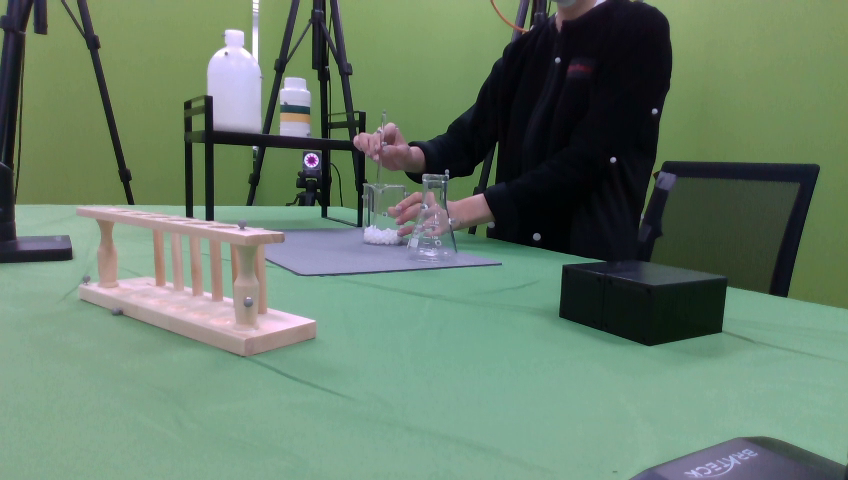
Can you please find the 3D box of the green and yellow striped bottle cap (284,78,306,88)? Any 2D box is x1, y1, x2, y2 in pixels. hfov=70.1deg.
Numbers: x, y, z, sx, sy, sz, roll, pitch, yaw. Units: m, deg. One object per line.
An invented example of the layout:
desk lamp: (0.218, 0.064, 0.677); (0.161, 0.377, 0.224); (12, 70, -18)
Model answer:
green and yellow striped bottle cap: (-0.268, -0.325, 1.259); (0.045, 0.020, 0.045); (5, 8, 0)

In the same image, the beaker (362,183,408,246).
beaker: (-0.066, -0.043, 0.996); (0.074, 0.100, 0.084); (3, 8, 6)

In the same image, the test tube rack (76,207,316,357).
test tube rack: (-0.196, 0.023, 0.500); (0.241, 0.085, 0.067); (8, 9, 36)

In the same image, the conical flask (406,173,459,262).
conical flask: (0.014, -0.033, 0.851); (0.075, 0.122, 0.075); (2, 7, 0)

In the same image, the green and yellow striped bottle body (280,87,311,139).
green and yellow striped bottle body: (-0.269, -0.274, 1.266); (0.063, 0.119, 0.063); (3, 7, 0)

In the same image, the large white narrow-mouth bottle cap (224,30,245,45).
large white narrow-mouth bottle cap: (-0.365, -0.389, 1.166); (0.038, 0.024, 0.037); (2, 9, 0)

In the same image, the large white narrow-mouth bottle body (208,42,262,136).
large white narrow-mouth bottle body: (-0.368, -0.304, 1.181); (0.102, 0.194, 0.101); (2, 9, 0)

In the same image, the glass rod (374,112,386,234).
glass rod: (-0.073, -0.109, 0.991); (0.008, 0.199, 0.008); (5, 5, 0)
